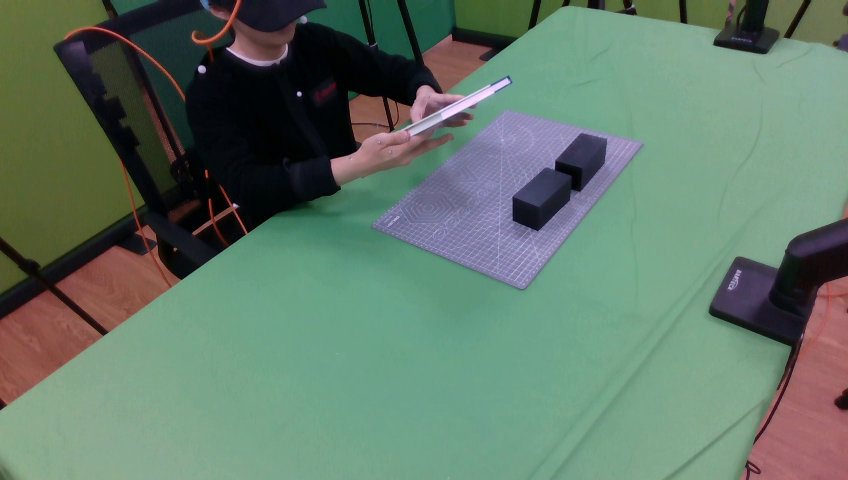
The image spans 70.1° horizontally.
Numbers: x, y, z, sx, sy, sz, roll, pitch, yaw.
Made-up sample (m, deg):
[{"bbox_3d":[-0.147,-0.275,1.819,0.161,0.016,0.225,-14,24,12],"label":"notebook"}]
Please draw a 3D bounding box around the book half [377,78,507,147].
[{"bbox_3d":[0.022,-0.201,0.966,0.144,0.007,0.209,-33,12,-29],"label":"book half"}]
